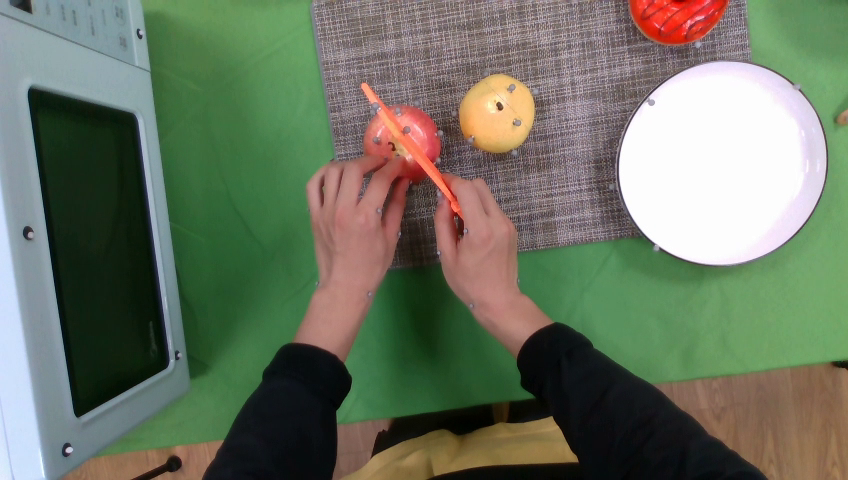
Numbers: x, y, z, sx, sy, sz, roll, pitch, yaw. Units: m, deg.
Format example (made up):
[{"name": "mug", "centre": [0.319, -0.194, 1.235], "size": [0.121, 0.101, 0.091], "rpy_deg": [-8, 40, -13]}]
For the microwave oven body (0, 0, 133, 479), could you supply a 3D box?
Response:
[{"name": "microwave oven body", "centre": [-0.453, -0.029, 0.569], "size": [0.326, 0.260, 0.442], "rpy_deg": [-5, 96, 4]}]

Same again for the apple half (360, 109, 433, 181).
[{"name": "apple half", "centre": [-0.035, -0.092, 0.629], "size": [0.081, 0.074, 0.053], "rpy_deg": [44, 102, -8]}]

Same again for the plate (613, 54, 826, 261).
[{"name": "plate", "centre": [0.299, -0.083, 0.626], "size": [0.209, 0.038, 0.209], "rpy_deg": [0, 95, 4]}]

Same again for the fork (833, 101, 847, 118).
[{"name": "fork", "centre": [0.503, -0.182, 0.582], "size": [0.207, 0.018, 0.028], "rpy_deg": [-35, 100, 26]}]

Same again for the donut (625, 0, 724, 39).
[{"name": "donut", "centre": [0.252, -0.253, 0.610], "size": [0.099, 0.048, 0.099], "rpy_deg": [1, 96, 7]}]

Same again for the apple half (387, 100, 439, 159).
[{"name": "apple half", "centre": [-0.008, -0.120, 0.623], "size": [0.081, 0.081, 0.033], "rpy_deg": [44, 101, 0]}]

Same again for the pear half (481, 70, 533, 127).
[{"name": "pear half", "centre": [0.088, -0.148, 0.608], "size": [0.070, 0.088, 0.031], "rpy_deg": [41, 97, 5]}]

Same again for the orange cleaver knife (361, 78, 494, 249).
[{"name": "orange cleaver knife", "centre": [0.008, -0.066, 0.568], "size": [0.012, 0.076, 0.214], "rpy_deg": [-34, 133, 10]}]

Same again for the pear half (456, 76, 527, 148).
[{"name": "pear half", "centre": [0.063, -0.123, 0.602], "size": [0.076, 0.110, 0.056], "rpy_deg": [42, 96, 4]}]

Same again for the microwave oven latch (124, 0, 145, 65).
[{"name": "microwave oven latch", "centre": [-0.316, -0.226, 0.638], "size": [0.030, 0.029, 0.079], "rpy_deg": [-4, 96, 4]}]

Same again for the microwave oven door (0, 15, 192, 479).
[{"name": "microwave oven door", "centre": [-0.305, 0.001, 0.557], "size": [0.039, 0.243, 0.356], "rpy_deg": [-6, 95, 4]}]
